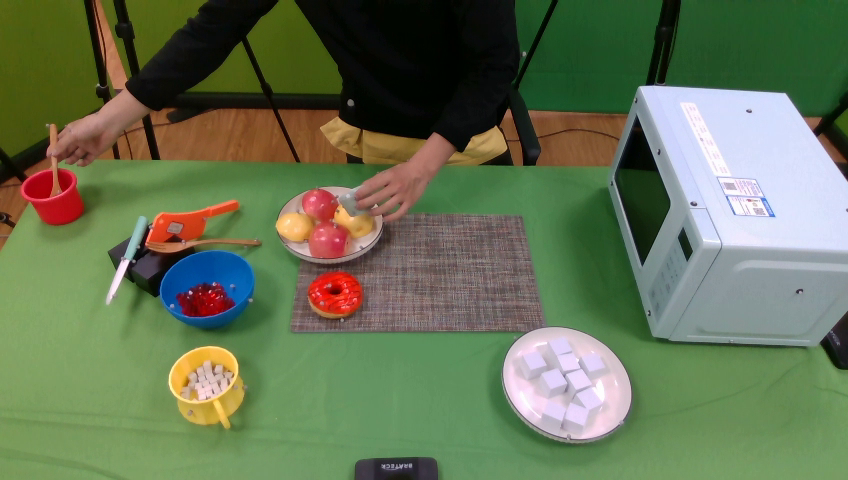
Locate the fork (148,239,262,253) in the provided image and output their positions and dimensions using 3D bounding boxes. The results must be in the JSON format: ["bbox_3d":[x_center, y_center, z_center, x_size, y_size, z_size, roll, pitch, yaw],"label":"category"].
[{"bbox_3d":[-0.398,0.008,1.117,0.208,0.019,0.028,-5,34,-37],"label":"fork"}]

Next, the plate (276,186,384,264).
[{"bbox_3d":[-0.184,-0.027,1.195,0.209,0.038,0.208,2,46,-2],"label":"plate"}]

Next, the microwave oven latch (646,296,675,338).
[{"bbox_3d":[0.412,0.134,1.061,0.030,0.029,0.078,4,45,1],"label":"microwave oven latch"}]

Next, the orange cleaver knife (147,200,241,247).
[{"bbox_3d":[-0.435,-0.033,1.157,0.012,0.077,0.211,31,26,18],"label":"orange cleaver knife"}]

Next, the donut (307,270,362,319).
[{"bbox_3d":[-0.157,0.097,1.073,0.099,0.048,0.098,4,45,-4],"label":"donut"}]

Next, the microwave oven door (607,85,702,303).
[{"bbox_3d":[0.423,-0.094,1.140,0.039,0.245,0.353,2,46,-1],"label":"microwave oven door"}]

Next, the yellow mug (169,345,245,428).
[{"bbox_3d":[-0.322,0.230,0.922,0.100,0.064,0.130,-24,53,-25],"label":"yellow mug"}]

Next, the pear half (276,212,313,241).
[{"bbox_3d":[-0.245,-0.035,1.178,0.070,0.031,0.088,40,41,1],"label":"pear half"}]

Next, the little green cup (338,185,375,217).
[{"bbox_3d":[-0.120,-0.070,1.105,0.061,0.039,0.061,-21,16,7],"label":"little green cup"}]

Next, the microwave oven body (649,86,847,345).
[{"bbox_3d":[0.568,-0.053,1.118,0.326,0.261,0.439,2,45,-1],"label":"microwave oven body"}]

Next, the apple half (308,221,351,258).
[{"bbox_3d":[-0.180,-0.005,1.150,0.074,0.053,0.080,14,43,8],"label":"apple half"}]

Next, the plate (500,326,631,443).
[{"bbox_3d":[0.224,0.234,0.978,0.208,0.039,0.206,2,46,-2],"label":"plate"}]

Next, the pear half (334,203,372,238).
[{"bbox_3d":[-0.148,-0.060,1.210,0.076,0.056,0.109,-16,46,-25],"label":"pear half"}]

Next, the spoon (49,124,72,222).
[{"bbox_3d":[-0.717,-0.132,1.188,0.042,0.021,0.193,-3,91,-9],"label":"spoon"}]

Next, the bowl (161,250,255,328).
[{"bbox_3d":[-0.362,0.097,1.040,0.151,0.077,0.150,2,45,-2],"label":"bowl"}]

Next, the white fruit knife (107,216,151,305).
[{"bbox_3d":[-0.518,0.032,1.066,0.027,0.016,0.206,-18,45,19],"label":"white fruit knife"}]

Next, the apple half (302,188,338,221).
[{"bbox_3d":[-0.205,-0.076,1.216,0.081,0.033,0.081,19,45,-20],"label":"apple half"}]
